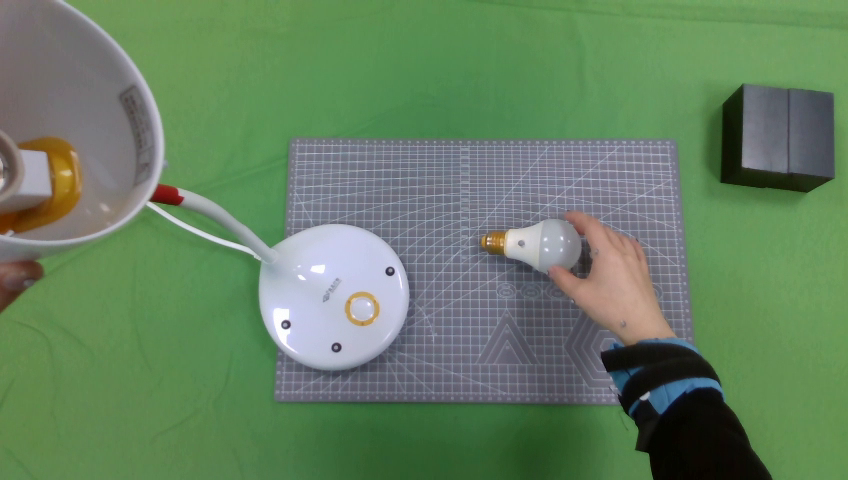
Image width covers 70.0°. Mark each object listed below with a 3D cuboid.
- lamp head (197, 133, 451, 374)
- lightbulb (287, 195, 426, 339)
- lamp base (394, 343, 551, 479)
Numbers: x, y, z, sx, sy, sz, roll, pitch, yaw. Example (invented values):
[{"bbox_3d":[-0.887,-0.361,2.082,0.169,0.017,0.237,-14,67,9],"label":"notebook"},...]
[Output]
[{"bbox_3d":[-0.060,0.021,0.315,0.113,0.123,0.111,19,57,-32],"label":"lamp head"},{"bbox_3d":[-0.041,0.021,0.288,0.060,0.108,0.059,17,54,-25],"label":"lightbulb"},{"bbox_3d":[0.042,0.160,0.604,0.179,0.182,0.159,9,68,11],"label":"lamp base"}]
